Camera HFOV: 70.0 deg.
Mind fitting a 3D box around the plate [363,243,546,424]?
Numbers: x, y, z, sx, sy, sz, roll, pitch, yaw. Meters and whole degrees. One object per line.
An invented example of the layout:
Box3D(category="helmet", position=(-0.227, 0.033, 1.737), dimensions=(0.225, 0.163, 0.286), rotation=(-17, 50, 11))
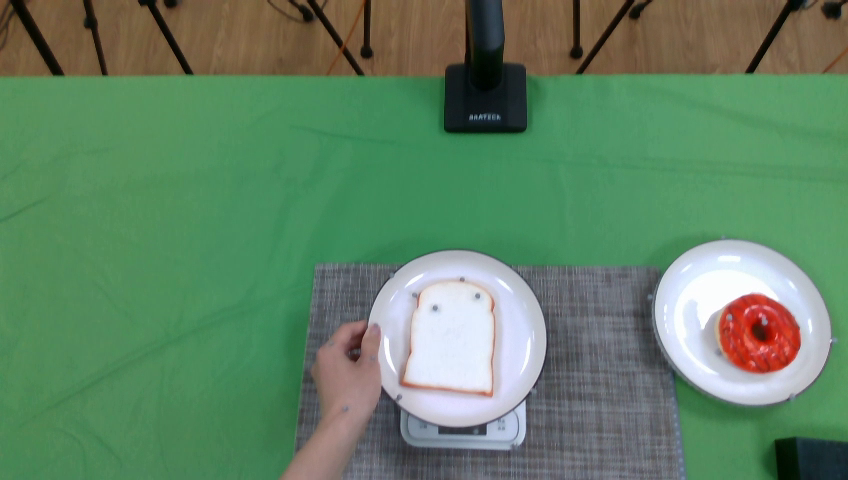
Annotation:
Box3D(category="plate", position=(0.034, 0.106, 0.701), dimensions=(0.209, 0.038, 0.207), rotation=(-1, 70, 2))

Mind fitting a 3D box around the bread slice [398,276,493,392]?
Box3D(category="bread slice", position=(0.029, 0.105, 0.704), dimensions=(0.105, 0.019, 0.130), rotation=(5, 71, 3))

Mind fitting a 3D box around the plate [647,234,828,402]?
Box3D(category="plate", position=(0.376, 0.095, 0.742), dimensions=(0.207, 0.039, 0.206), rotation=(-1, 69, 3))

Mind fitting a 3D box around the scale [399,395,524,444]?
Box3D(category="scale", position=(0.046, 0.143, 0.741), dimensions=(0.148, 0.032, 0.199), rotation=(1, 70, 4))

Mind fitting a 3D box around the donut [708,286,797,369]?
Box3D(category="donut", position=(0.392, 0.105, 0.725), dimensions=(0.099, 0.048, 0.098), rotation=(0, 73, 1))
